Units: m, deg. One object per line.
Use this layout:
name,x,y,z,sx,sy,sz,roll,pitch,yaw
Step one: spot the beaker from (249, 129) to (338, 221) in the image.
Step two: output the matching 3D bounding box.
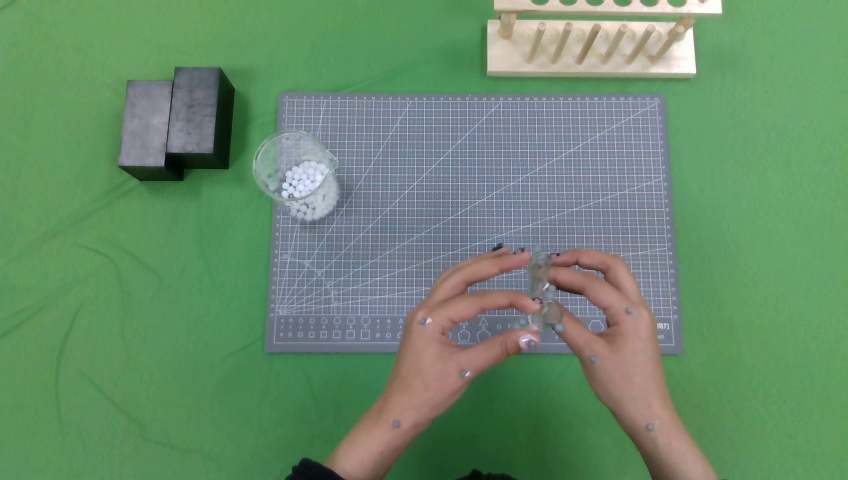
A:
beaker,-0.130,-0.064,0.638,0.084,0.100,0.073,-7,79,-2

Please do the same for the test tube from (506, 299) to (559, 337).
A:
test tube,0.078,0.061,0.455,0.017,0.151,0.017,0,77,0

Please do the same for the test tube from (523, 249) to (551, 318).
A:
test tube,0.089,0.039,0.485,0.017,0.151,0.017,-2,69,7

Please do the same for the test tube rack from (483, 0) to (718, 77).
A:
test tube rack,0.192,-0.235,0.683,0.242,0.085,0.066,1,78,0
